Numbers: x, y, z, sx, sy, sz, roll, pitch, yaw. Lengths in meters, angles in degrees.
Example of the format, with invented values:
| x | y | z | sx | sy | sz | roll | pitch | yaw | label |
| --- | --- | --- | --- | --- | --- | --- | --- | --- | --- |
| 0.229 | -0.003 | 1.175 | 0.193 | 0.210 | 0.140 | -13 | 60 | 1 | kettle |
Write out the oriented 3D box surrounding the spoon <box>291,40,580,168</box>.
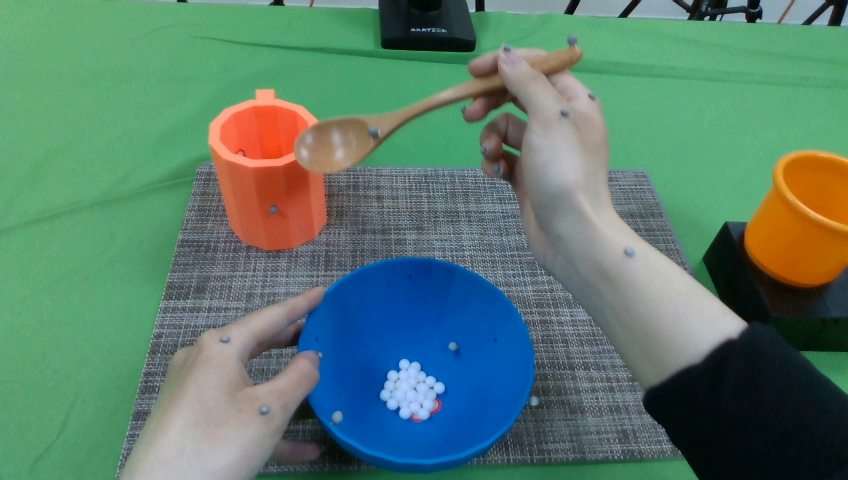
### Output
| x | y | z | sx | sy | sz | roll | pitch | yaw | label |
| --- | --- | --- | --- | --- | --- | --- | --- | --- | --- |
| 0.003 | -0.088 | 0.384 | 0.193 | 0.022 | 0.041 | -17 | 70 | 17 | spoon |

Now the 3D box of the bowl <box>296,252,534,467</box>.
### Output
| x | y | z | sx | sy | sz | roll | pitch | yaw | label |
| --- | --- | --- | --- | --- | --- | --- | --- | --- | --- |
| -0.008 | 0.090 | 0.411 | 0.151 | 0.077 | 0.150 | 4 | 48 | -4 | bowl |

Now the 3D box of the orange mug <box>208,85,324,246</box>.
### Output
| x | y | z | sx | sy | sz | roll | pitch | yaw | label |
| --- | --- | --- | --- | --- | --- | --- | --- | --- | --- |
| -0.133 | -0.072 | 0.524 | 0.084 | 0.101 | 0.125 | -5 | 54 | -11 | orange mug |
